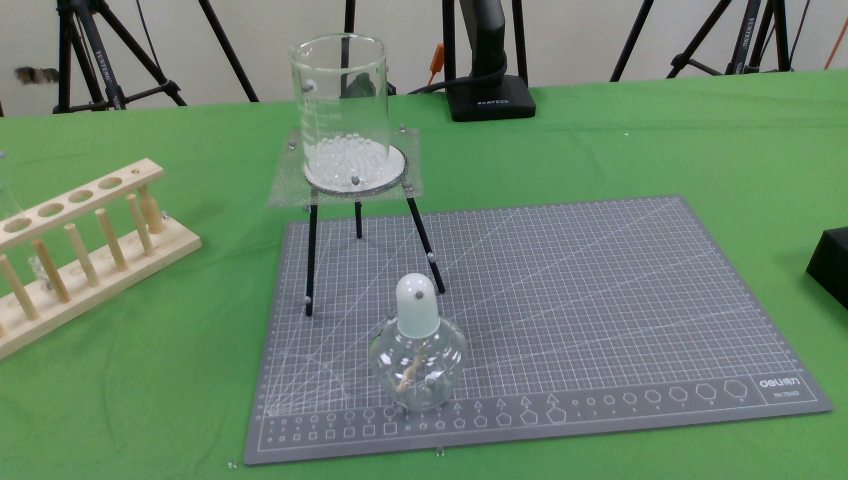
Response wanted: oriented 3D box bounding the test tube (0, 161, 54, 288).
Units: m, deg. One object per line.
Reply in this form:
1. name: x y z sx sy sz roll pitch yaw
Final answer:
1. test tube: -0.363 -0.018 0.541 0.017 0.151 0.017 -3 33 2

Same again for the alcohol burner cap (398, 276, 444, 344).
1. alcohol burner cap: -0.003 0.047 0.436 0.034 0.048 0.033 -3 38 3

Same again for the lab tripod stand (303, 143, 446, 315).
1. lab tripod stand: -0.051 -0.011 0.555 0.148 0.132 0.147 0 37 0

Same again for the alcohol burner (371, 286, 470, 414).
1. alcohol burner: -0.003 0.076 0.458 0.078 0.120 0.077 -1 40 1

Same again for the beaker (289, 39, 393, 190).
1. beaker: -0.064 -0.098 0.480 0.083 0.101 0.074 24 44 28

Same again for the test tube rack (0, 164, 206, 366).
1. test tube rack: -0.338 0.023 0.568 0.066 0.086 0.242 27 47 32

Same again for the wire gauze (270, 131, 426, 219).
1. wire gauze: -0.061 -0.061 0.512 0.121 0.011 0.124 -3 40 -1
